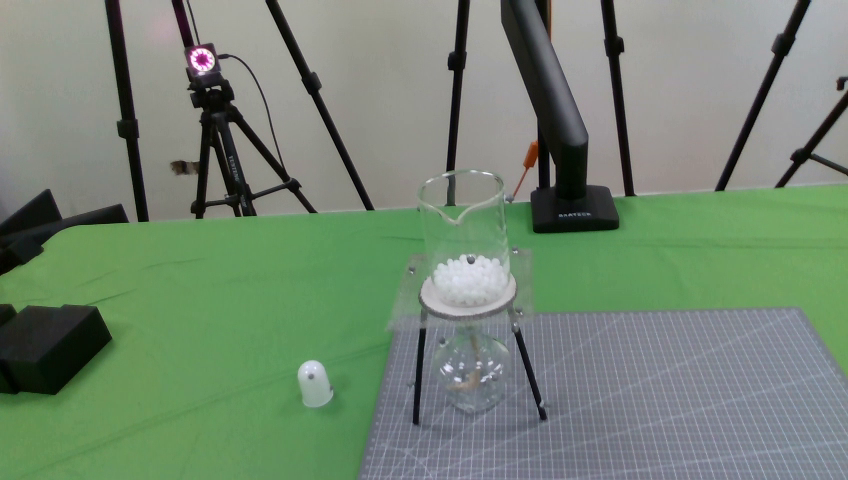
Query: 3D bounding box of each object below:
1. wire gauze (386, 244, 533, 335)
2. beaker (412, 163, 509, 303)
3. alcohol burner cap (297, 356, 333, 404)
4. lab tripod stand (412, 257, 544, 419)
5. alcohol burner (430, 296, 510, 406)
[{"bbox_3d":[0.034,0.038,0.538,0.121,0.011,0.124,-4,33,11],"label":"wire gauze"},{"bbox_3d":[0.033,-0.003,0.511,0.074,0.101,0.083,-3,31,12],"label":"beaker"},{"bbox_3d":[-0.114,0.141,0.624,0.034,0.048,0.033,-5,33,4],"label":"alcohol burner cap"},{"bbox_3d":[0.044,0.091,0.576,0.148,0.132,0.147,-7,30,4],"label":"lab tripod stand"},{"bbox_3d":[0.043,0.101,0.580,0.078,0.120,0.077,-4,33,3],"label":"alcohol burner"}]
